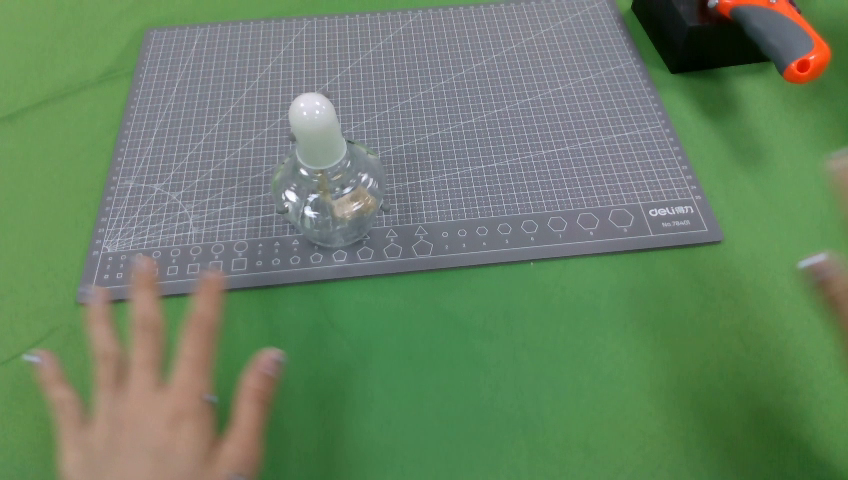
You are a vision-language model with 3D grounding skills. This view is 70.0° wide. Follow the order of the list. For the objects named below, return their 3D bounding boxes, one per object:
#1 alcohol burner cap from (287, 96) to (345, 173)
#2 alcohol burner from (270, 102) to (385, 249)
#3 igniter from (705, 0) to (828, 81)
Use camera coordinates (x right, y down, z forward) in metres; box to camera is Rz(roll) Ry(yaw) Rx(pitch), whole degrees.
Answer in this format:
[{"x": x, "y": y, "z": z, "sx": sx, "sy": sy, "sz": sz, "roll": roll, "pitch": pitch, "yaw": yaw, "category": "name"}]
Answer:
[{"x": -0.068, "y": -0.067, "z": 0.369, "sx": 0.034, "sy": 0.048, "sz": 0.033, "roll": 0, "pitch": 59, "yaw": 0, "category": "alcohol burner cap"}, {"x": -0.066, "y": -0.047, "z": 0.399, "sx": 0.078, "sy": 0.120, "sz": 0.077, "roll": -1, "pitch": 57, "yaw": 2, "category": "alcohol burner"}, {"x": 0.255, "y": -0.226, "z": 0.515, "sx": 0.057, "sy": 0.025, "sz": 0.273, "roll": -12, "pitch": 54, "yaw": -3, "category": "igniter"}]
